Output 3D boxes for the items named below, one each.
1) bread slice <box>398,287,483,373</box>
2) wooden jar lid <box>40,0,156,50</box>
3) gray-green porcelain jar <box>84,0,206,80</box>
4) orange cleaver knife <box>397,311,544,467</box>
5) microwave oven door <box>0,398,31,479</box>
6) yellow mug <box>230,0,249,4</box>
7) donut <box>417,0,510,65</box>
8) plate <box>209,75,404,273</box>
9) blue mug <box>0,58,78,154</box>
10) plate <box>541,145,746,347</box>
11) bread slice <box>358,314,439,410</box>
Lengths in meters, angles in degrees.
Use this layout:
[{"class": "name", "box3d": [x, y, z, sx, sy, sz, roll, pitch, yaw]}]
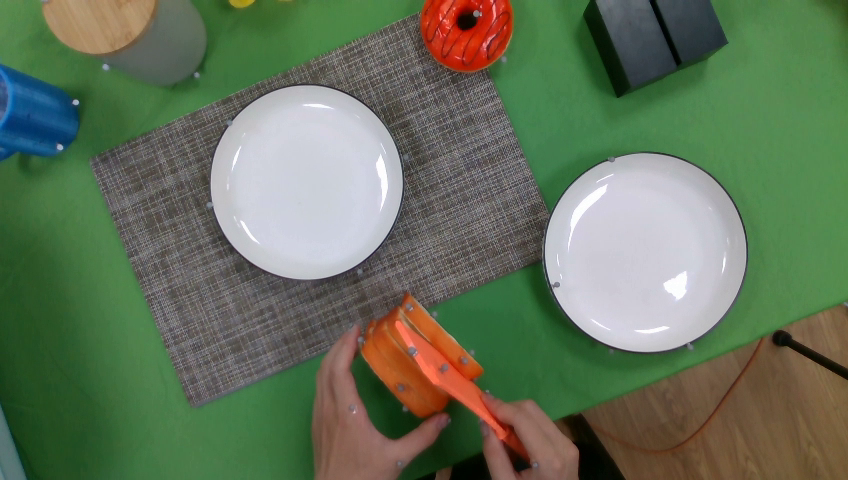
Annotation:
[{"class": "bread slice", "box3d": [0.016, 0.092, 0.603, 0.107, 0.134, 0.018, 44, 86, -3]}, {"class": "wooden jar lid", "box3d": [-0.295, -0.226, 0.555, 0.108, 0.021, 0.108, 0, 89, 4]}, {"class": "gray-green porcelain jar", "box3d": [-0.292, -0.226, 0.617, 0.106, 0.126, 0.106, 0, 90, 3]}, {"class": "orange cleaver knife", "box3d": [0.044, 0.135, 0.536, 0.012, 0.076, 0.213, -38, 124, 7]}, {"class": "microwave oven door", "box3d": [-0.487, 0.193, 0.556, 0.039, 0.244, 0.355, -20, 89, 3]}, {"class": "yellow mug", "box3d": [-0.168, -0.307, 0.640, 0.100, 0.064, 0.131, 35, 93, 2]}, {"class": "donut", "box3d": [0.042, -0.234, 0.638, 0.099, 0.048, 0.099, 0, 91, 2]}, {"class": "plate", "box3d": [-0.123, -0.069, 0.651, 0.207, 0.039, 0.207, 0, 91, 3]}, {"class": "blue mug", "box3d": [-0.445, -0.130, 0.635, 0.082, 0.106, 0.116, 41, 92, 2]}, {"class": "plate", "box3d": [0.226, 0.006, 0.639, 0.209, 0.038, 0.209, 0, 91, 3]}, {"class": "bread slice", "box3d": [-0.027, 0.122, 0.606, 0.019, 0.131, 0.105, -43, 89, 0]}]
